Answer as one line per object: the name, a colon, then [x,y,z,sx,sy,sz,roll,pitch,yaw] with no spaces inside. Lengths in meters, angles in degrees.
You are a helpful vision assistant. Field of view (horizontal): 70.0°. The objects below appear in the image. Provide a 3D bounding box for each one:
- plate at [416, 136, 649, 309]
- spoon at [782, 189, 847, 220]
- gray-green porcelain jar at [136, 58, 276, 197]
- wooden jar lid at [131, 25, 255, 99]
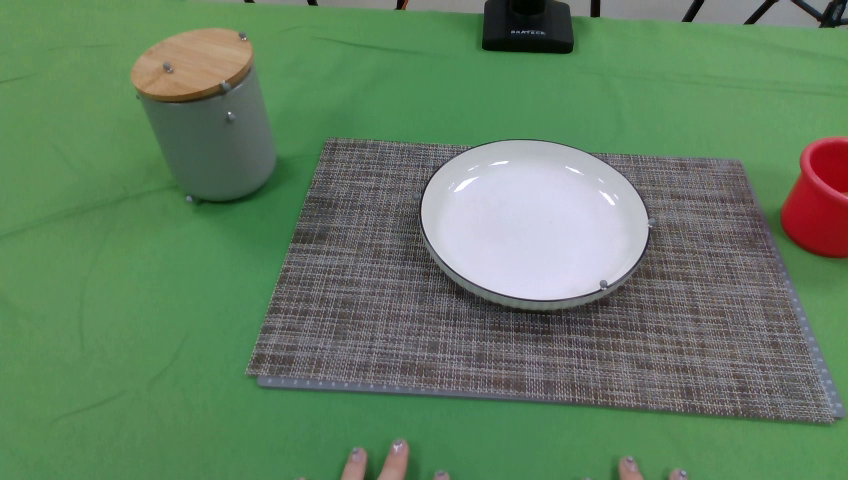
plate: [0.096,-0.017,0.559,0.208,0.039,0.205,0,48,0]
spoon: [0.416,-0.048,0.520,0.193,0.022,0.041,-19,28,48]
gray-green porcelain jar: [-0.205,-0.114,0.591,0.106,0.127,0.105,0,48,0]
wooden jar lid: [-0.204,-0.157,0.543,0.108,0.021,0.107,-2,49,2]
